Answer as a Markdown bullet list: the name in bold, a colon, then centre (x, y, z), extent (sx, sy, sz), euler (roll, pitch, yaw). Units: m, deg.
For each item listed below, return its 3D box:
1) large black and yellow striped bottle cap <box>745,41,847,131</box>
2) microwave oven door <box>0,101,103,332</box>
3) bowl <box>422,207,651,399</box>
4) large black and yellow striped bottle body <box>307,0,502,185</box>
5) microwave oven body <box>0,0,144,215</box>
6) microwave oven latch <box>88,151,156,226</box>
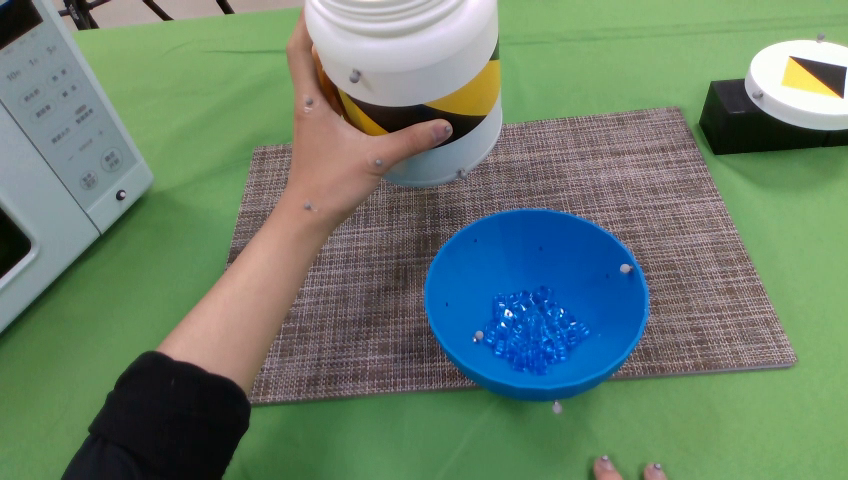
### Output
- **large black and yellow striped bottle cap**: centre (0.356, -0.142, 0.550), extent (0.115, 0.019, 0.114), euler (-4, 49, 5)
- **microwave oven door**: centre (-0.403, 0.037, 0.385), extent (0.039, 0.246, 0.354), euler (17, 54, 21)
- **bowl**: centre (0.077, 0.056, 0.437), extent (0.151, 0.077, 0.150), euler (-4, 49, 5)
- **large black and yellow striped bottle body**: centre (-0.009, -0.141, 0.450), extent (0.130, 0.185, 0.129), euler (-3, 61, 7)
- **microwave oven body**: centre (-0.515, -0.030, 0.462), extent (0.324, 0.263, 0.439), euler (18, 55, 20)
- **microwave oven latch**: centre (-0.295, -0.052, 0.582), extent (0.030, 0.030, 0.079), euler (20, 56, 21)
